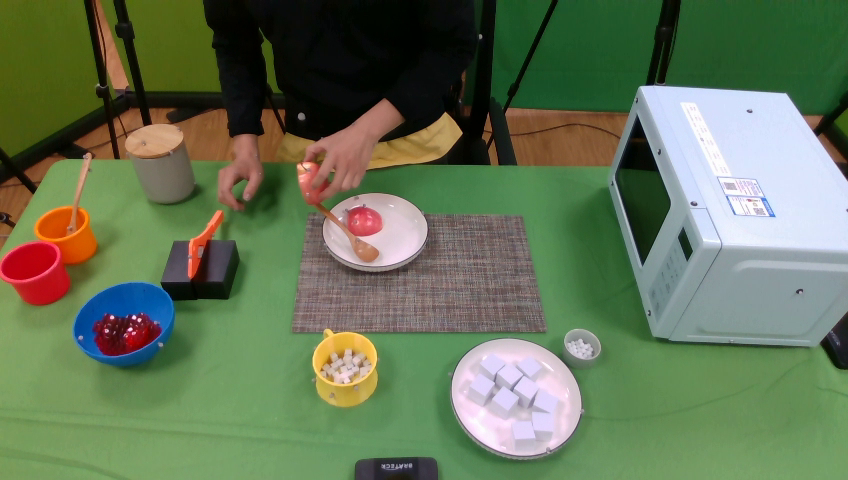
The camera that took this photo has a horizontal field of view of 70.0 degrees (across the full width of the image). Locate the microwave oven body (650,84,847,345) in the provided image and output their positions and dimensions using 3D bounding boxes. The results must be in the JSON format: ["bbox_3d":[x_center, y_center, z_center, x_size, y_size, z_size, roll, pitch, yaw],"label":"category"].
[{"bbox_3d":[0.569,-0.054,1.116,0.326,0.261,0.439,2,46,-1],"label":"microwave oven body"}]

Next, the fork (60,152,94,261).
[{"bbox_3d":[-0.637,-0.063,1.119,0.028,0.019,0.207,11,90,16],"label":"fork"}]

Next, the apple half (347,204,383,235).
[{"bbox_3d":[-0.118,-0.048,1.207,0.081,0.033,0.081,3,49,-3],"label":"apple half"}]

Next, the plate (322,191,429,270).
[{"bbox_3d":[-0.094,-0.015,1.185,0.209,0.038,0.208,2,46,-2],"label":"plate"}]

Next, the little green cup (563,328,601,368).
[{"bbox_3d":[0.266,0.185,1.025,0.061,0.039,0.061,1,45,-1],"label":"little green cup"}]

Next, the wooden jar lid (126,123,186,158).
[{"bbox_3d":[-0.519,-0.190,1.179,0.108,0.021,0.107,2,44,-2],"label":"wooden jar lid"}]

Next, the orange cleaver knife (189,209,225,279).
[{"bbox_3d":[-0.401,0.002,1.122,0.012,0.077,0.210,4,23,-4],"label":"orange cleaver knife"}]

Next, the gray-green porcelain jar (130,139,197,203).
[{"bbox_3d":[-0.523,-0.147,1.225,0.106,0.127,0.105,2,47,-2],"label":"gray-green porcelain jar"}]

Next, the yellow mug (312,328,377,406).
[{"bbox_3d":[-0.133,0.194,0.971,0.100,0.064,0.130,-22,51,-23],"label":"yellow mug"}]

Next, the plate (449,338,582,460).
[{"bbox_3d":[0.141,0.251,0.956,0.208,0.039,0.206,2,46,-2],"label":"plate"}]

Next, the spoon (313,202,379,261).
[{"bbox_3d":[-0.158,-0.026,1.172,0.041,0.022,0.193,-40,72,-21],"label":"spoon"}]

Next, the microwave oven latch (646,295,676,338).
[{"bbox_3d":[0.413,0.133,1.061,0.030,0.029,0.078,4,46,1],"label":"microwave oven latch"}]

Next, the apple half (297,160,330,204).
[{"bbox_3d":[-0.205,-0.111,1.149,0.053,0.075,0.080,-15,33,-4],"label":"apple half"}]

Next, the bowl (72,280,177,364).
[{"bbox_3d":[-0.473,0.147,0.982,0.151,0.077,0.150,2,46,-2],"label":"bowl"}]

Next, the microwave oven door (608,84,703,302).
[{"bbox_3d":[0.424,-0.096,1.138,0.039,0.245,0.353,2,46,-1],"label":"microwave oven door"}]
